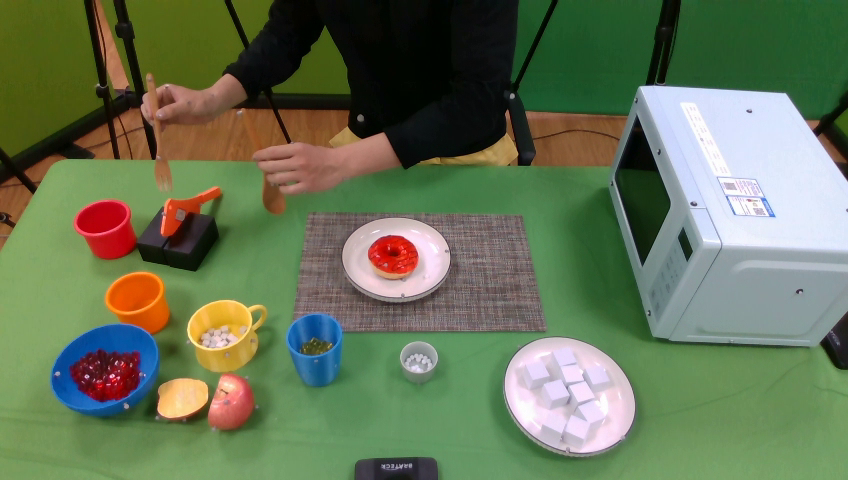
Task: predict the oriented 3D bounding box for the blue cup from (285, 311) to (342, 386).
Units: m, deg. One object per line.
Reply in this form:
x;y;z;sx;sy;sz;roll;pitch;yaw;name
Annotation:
-0.170;0.180;0.958;0.093;0.101;0.092;2;44;-1;blue cup

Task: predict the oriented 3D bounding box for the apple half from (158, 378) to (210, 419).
-0.366;0.247;0.926;0.081;0.033;0.081;8;31;-5;apple half

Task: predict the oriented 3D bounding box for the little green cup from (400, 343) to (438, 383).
-0.010;0.202;0.991;0.061;0.039;0.061;2;46;-2;little green cup

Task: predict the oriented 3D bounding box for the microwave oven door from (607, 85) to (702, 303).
0.423;-0.094;1.140;0.039;0.245;0.353;2;46;-1;microwave oven door

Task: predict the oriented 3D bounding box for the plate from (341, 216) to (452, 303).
-0.052;0.039;1.140;0.209;0.038;0.208;2;46;-2;plate

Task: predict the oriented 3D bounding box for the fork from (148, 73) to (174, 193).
-0.463;-0.185;1.062;0.028;0.208;0.018;-11;22;-30;fork

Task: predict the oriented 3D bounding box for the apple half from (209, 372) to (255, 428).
-0.282;0.243;0.908;0.053;0.075;0.080;8;42;-2;apple half

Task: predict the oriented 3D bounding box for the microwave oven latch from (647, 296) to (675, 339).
0.413;0.134;1.061;0.030;0.029;0.078;5;45;2;microwave oven latch

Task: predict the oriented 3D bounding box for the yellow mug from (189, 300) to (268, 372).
-0.316;0.148;1.001;0.131;0.064;0.099;-32;55;-31;yellow mug

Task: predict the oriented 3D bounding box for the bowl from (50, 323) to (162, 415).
-0.472;0.209;0.924;0.151;0.077;0.150;3;45;-2;bowl

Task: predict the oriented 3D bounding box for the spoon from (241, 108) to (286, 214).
-0.261;-0.126;0.987;0.021;0.195;0.041;26;49;33;spoon

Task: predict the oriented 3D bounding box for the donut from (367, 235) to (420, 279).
-0.057;0.032;1.131;0.099;0.048;0.098;4;45;-3;donut

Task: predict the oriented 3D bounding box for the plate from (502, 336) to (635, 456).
0.225;0.248;0.963;0.208;0.039;0.206;2;46;-2;plate

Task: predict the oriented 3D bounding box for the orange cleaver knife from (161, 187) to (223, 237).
-0.448;-0.058;1.181;0.012;0.077;0.211;13;17;6;orange cleaver knife

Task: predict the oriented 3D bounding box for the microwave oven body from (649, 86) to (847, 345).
0.568;-0.053;1.118;0.326;0.261;0.439;2;45;-1;microwave oven body
